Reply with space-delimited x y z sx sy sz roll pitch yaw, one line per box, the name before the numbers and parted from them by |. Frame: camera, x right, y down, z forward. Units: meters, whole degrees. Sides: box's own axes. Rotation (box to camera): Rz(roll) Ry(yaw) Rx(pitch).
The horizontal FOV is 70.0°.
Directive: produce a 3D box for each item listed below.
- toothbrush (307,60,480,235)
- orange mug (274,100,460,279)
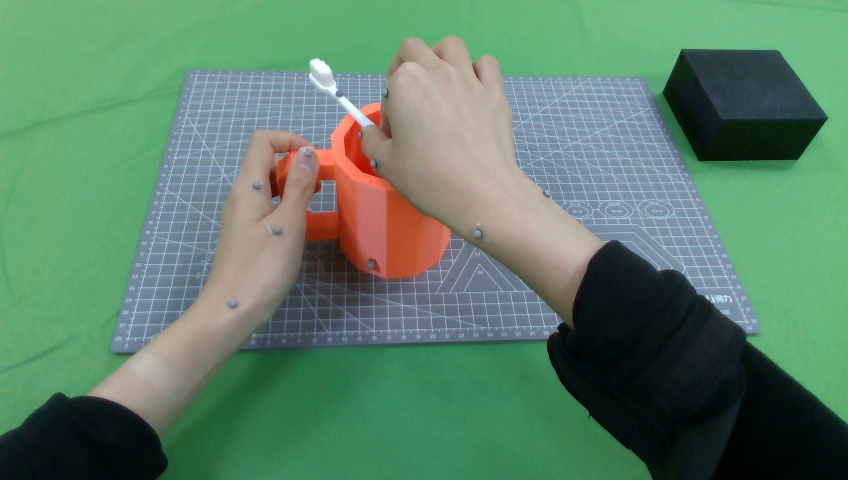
toothbrush | -0.025 -0.064 0.386 0.014 0.017 0.180 -27 59 -29
orange mug | -0.040 -0.034 0.428 0.126 0.101 0.082 -2 52 -12
